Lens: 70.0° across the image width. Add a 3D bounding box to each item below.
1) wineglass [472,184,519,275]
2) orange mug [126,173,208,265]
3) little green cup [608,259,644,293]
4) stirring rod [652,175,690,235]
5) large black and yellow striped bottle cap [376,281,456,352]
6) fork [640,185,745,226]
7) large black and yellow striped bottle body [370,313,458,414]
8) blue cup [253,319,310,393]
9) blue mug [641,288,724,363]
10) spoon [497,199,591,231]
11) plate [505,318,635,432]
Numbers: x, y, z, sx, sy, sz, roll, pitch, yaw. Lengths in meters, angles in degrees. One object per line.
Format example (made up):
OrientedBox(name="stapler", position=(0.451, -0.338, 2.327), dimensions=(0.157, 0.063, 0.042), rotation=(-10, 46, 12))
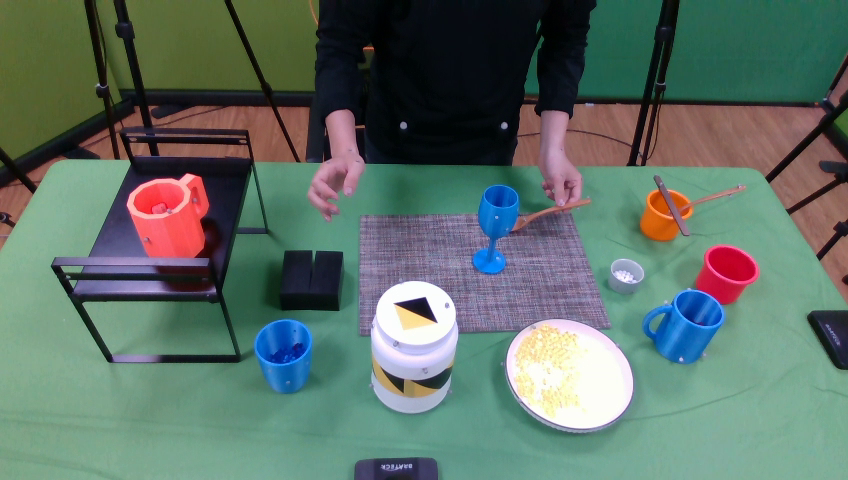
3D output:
OrientedBox(name="wineglass", position=(0.129, -0.018, 1.113), dimensions=(0.074, 0.173, 0.073), rotation=(2, 46, -2))
OrientedBox(name="orange mug", position=(-0.371, -0.039, 0.902), dimensions=(0.083, 0.101, 0.126), rotation=(18, 52, 14))
OrientedBox(name="little green cup", position=(0.379, 0.070, 1.147), dimensions=(0.061, 0.039, 0.061), rotation=(3, 45, -2))
OrientedBox(name="stirring rod", position=(0.492, -0.072, 1.211), dimensions=(0.014, 0.006, 0.175), rotation=(-1, 46, -6))
OrientedBox(name="large black and yellow striped bottle cap", position=(-0.011, 0.107, 0.863), dimensions=(0.115, 0.019, 0.114), rotation=(2, 47, -2))
OrientedBox(name="fork", position=(0.534, -0.069, 1.215), dimensions=(0.207, 0.019, 0.028), rotation=(-26, 27, 33))
OrientedBox(name="large black and yellow striped bottle body", position=(-0.017, 0.165, 0.924), dimensions=(0.131, 0.185, 0.130), rotation=(2, 46, -2))
OrientedBox(name="blue cup", position=(-0.217, 0.187, 0.943), dimensions=(0.093, 0.101, 0.092), rotation=(3, 45, -3))
OrientedBox(name="blue mug", position=(0.432, 0.144, 1.033), dimensions=(0.116, 0.106, 0.082), rotation=(8, 46, 5))
OrientedBox(name="spoon", position=(0.242, -0.053, 1.225), dimensions=(0.194, 0.022, 0.041), rotation=(-18, 36, 10))
OrientedBox(name="plate", position=(0.235, 0.221, 0.991), dimensions=(0.209, 0.038, 0.208), rotation=(2, 45, -2))
